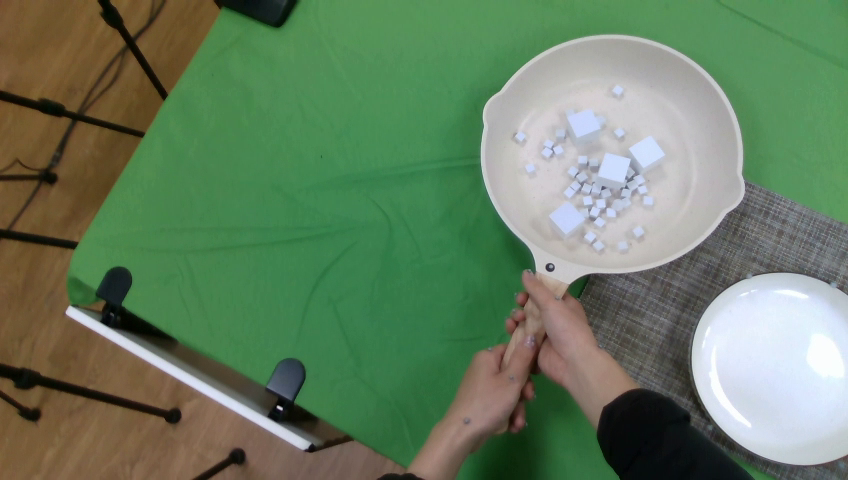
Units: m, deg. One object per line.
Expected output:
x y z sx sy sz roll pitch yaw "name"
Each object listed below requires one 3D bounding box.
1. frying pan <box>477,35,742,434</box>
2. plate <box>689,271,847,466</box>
0.167 -0.010 0.695 0.305 0.103 0.486 23 73 14 "frying pan"
0.397 0.138 0.667 0.207 0.039 0.206 -2 77 7 "plate"
